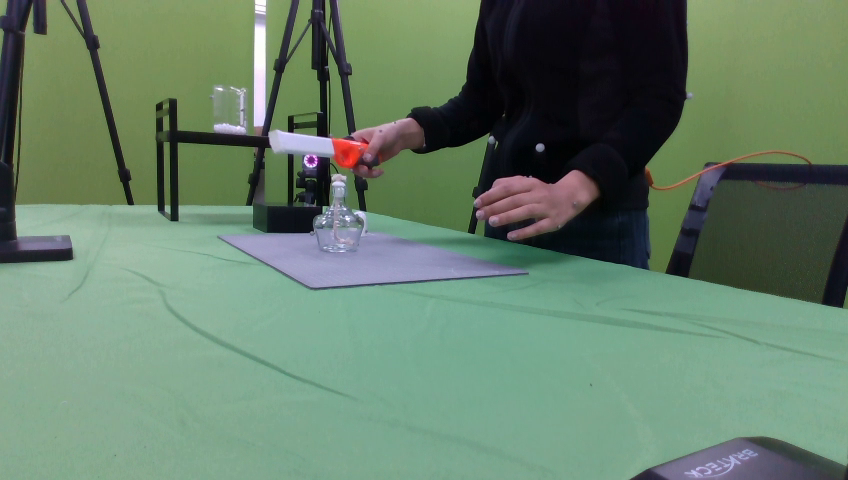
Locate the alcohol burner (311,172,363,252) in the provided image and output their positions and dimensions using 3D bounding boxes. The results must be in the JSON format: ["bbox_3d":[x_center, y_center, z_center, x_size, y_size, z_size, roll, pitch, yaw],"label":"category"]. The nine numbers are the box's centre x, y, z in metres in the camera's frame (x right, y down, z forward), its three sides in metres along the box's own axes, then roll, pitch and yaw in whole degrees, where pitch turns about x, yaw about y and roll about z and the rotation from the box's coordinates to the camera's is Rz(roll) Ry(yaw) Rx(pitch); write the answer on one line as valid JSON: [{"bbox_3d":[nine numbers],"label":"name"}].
[{"bbox_3d":[-0.130,-0.042,0.906,0.078,0.119,0.078,2,5,0],"label":"alcohol burner"}]

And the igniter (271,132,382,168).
[{"bbox_3d":[-0.146,-0.147,0.981,0.025,0.057,0.278,-14,-3,27],"label":"igniter"}]

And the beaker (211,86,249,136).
[{"bbox_3d":[-0.413,-0.274,1.297,0.074,0.100,0.083,-5,11,-44],"label":"beaker"}]

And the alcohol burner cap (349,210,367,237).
[{"bbox_3d":[-0.119,-0.030,1.095,0.034,0.048,0.034,1,8,0],"label":"alcohol burner cap"}]
